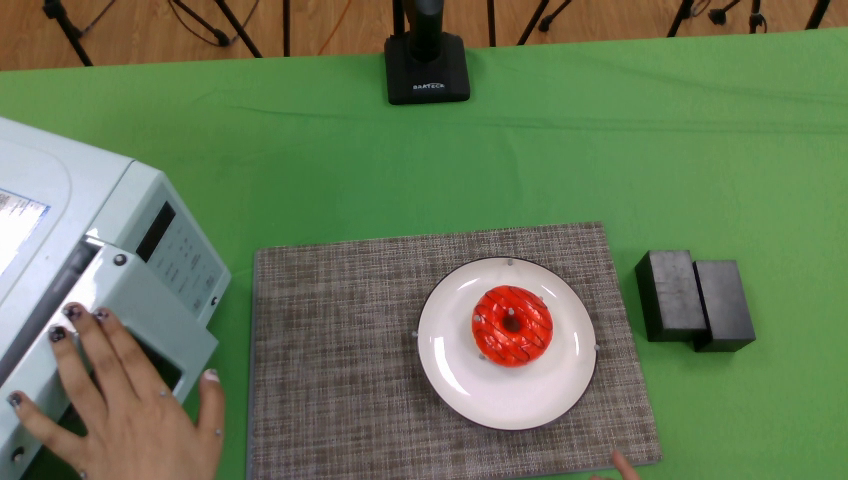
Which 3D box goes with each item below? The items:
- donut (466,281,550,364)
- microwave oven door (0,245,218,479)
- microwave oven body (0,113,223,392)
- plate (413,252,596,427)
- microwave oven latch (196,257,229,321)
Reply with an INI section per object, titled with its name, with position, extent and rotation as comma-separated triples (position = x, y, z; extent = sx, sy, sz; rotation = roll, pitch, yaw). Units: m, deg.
[donut]
position = 0.097, 0.096, 0.705
extent = 0.099, 0.048, 0.098
rotation = 2, 66, -3
[microwave oven door]
position = -0.317, 0.202, 0.525
extent = 0.039, 0.245, 0.354
rotation = 21, 66, 9
[microwave oven body]
position = -0.452, 0.121, 0.564
extent = 0.325, 0.262, 0.439
rotation = 18, 66, 6
[plate]
position = 0.093, 0.115, 0.708
extent = 0.209, 0.038, 0.207
rotation = 1, 65, -2
[microwave oven latch]
position = -0.257, 0.057, 0.708
extent = 0.030, 0.030, 0.078
rotation = 18, 66, 6
